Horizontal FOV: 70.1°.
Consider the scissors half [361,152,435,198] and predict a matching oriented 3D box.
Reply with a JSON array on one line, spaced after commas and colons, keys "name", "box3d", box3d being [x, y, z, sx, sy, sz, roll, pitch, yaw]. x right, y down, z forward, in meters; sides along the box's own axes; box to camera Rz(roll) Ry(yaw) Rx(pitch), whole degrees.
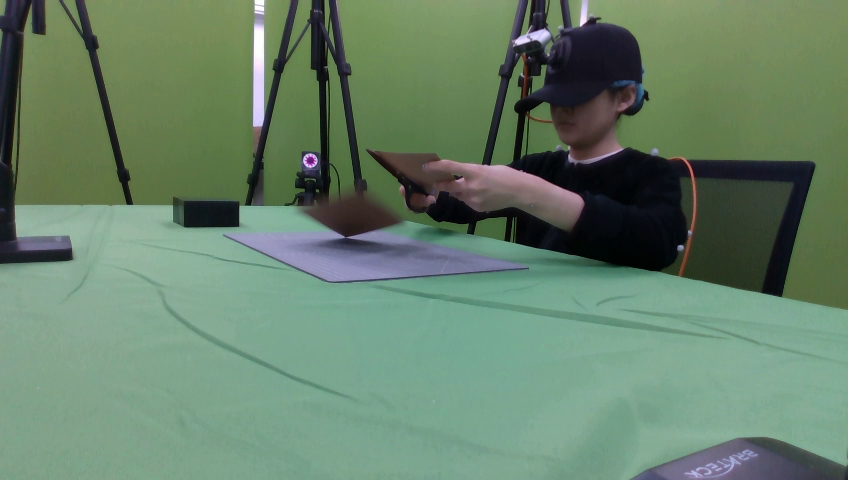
[{"name": "scissors half", "box3d": [-0.035, -0.107, 0.964, 0.176, 0.040, 0.012, 19, 5, -45]}]

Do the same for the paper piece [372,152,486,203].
[{"name": "paper piece", "box3d": [0.007, -0.093, 0.912, 0.135, 0.004, 0.136, 12, -17, 45]}]

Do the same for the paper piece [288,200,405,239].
[{"name": "paper piece", "box3d": [-0.123, -0.029, 0.978, 0.137, 0.008, 0.137, -9, -23, 32]}]

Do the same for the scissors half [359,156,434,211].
[{"name": "scissors half", "box3d": [-0.043, -0.090, 0.963, 0.013, 0.040, 0.176, 18, -11, 45]}]
